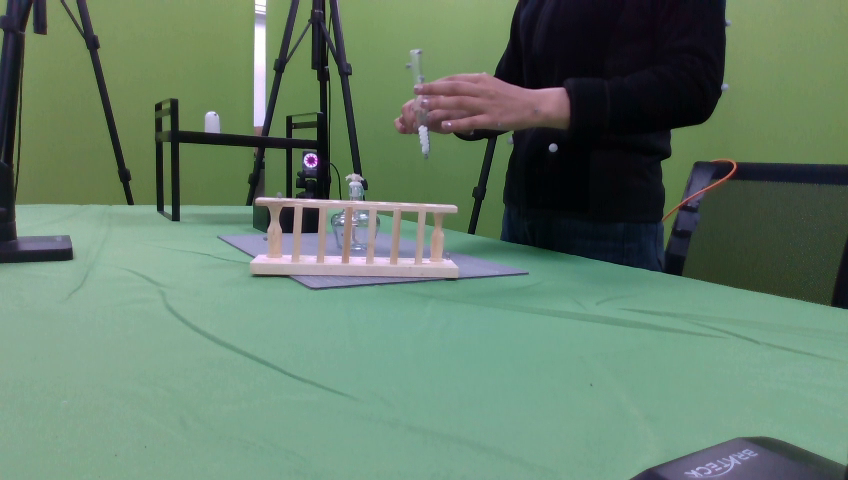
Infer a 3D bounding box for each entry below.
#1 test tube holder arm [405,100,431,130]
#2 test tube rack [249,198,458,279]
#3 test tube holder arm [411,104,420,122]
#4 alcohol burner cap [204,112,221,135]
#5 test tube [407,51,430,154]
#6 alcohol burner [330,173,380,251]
[{"bbox_3d":[-0.012,-0.194,0.954,0.013,0.015,0.178,-18,4,-8],"label":"test tube holder arm"},{"bbox_3d":[-0.081,-0.003,0.732,0.243,0.085,0.066,2,8,-7],"label":"test tube rack"},{"bbox_3d":[-0.012,-0.191,0.909,0.010,0.015,0.088,-18,4,1],"label":"test tube holder arm"},{"bbox_3d":[-0.444,-0.245,1.270,0.034,0.048,0.034,4,7,0],"label":"alcohol burner cap"},{"bbox_3d":[-0.008,-0.201,0.886,0.017,0.150,0.017,-7,4,1],"label":"test tube"},{"bbox_3d":[-0.107,-0.044,0.938,0.078,0.119,0.078,1,7,0],"label":"alcohol burner"}]
